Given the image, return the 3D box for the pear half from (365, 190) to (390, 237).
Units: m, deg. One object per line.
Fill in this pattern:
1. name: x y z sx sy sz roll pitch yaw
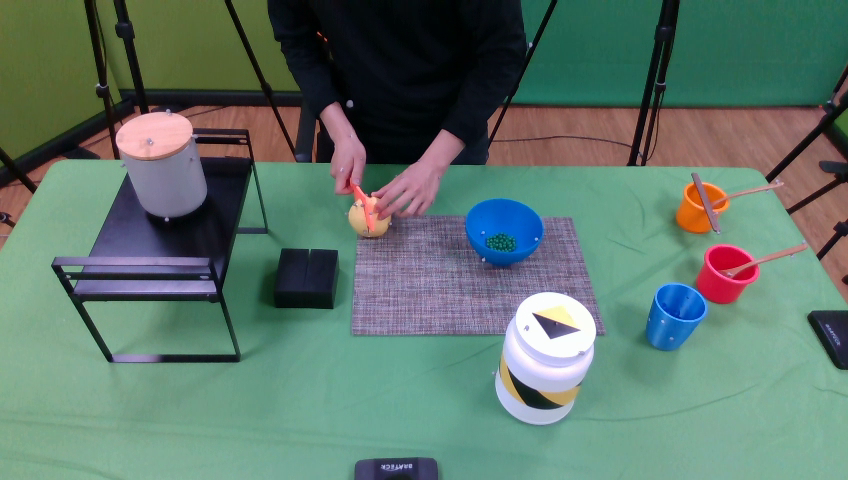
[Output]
1. pear half: -0.094 -0.058 1.180 0.056 0.110 0.076 -14 53 -17

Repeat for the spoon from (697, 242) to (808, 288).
1. spoon: 0.601 0.045 1.115 0.194 0.022 0.041 -29 35 30

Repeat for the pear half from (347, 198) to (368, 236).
1. pear half: -0.134 -0.043 1.178 0.031 0.088 0.070 -23 52 -16

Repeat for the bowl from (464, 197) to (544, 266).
1. bowl: 0.149 -0.004 1.168 0.151 0.077 0.150 2 46 -2

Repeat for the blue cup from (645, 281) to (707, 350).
1. blue cup: 0.425 0.136 1.042 0.093 0.101 0.092 1 45 -1

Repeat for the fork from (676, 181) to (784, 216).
1. fork: 0.618 -0.083 1.235 0.019 0.207 0.028 55 40 -15

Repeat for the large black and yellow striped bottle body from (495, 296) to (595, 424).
1. large black and yellow striped bottle body: 0.183 0.182 0.923 0.131 0.185 0.130 2 46 -2

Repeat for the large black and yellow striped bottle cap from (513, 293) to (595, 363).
1. large black and yellow striped bottle cap: 0.186 0.123 0.863 0.115 0.019 0.114 3 45 -3

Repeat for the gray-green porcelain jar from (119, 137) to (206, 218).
1. gray-green porcelain jar: -0.403 -0.106 0.946 0.106 0.127 0.105 3 46 -2

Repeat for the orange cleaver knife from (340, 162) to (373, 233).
1. orange cleaver knife: -0.134 -0.087 1.195 0.012 0.077 0.210 -14 35 -15

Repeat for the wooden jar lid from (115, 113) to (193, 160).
1. wooden jar lid: -0.399 -0.151 0.900 0.108 0.021 0.107 3 46 -3

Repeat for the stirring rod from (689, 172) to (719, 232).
1. stirring rod: 0.565 -0.080 1.224 0.014 0.006 0.175 3 46 0
